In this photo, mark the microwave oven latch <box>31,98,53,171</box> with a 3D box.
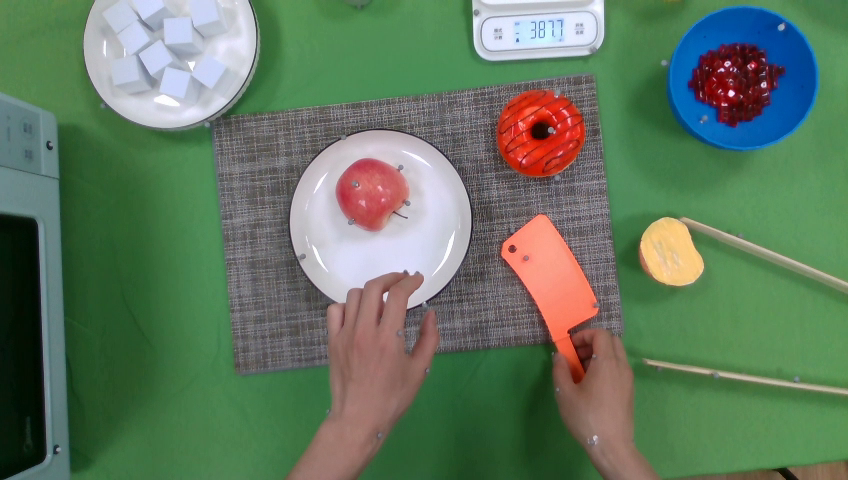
[{"bbox_3d":[-0.447,-0.120,0.696,0.030,0.029,0.079,-1,89,3],"label":"microwave oven latch"}]

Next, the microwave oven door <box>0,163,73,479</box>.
[{"bbox_3d":[-0.441,0.095,0.589,0.039,0.244,0.355,-4,88,4],"label":"microwave oven door"}]

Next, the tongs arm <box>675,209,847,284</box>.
[{"bbox_3d":[0.455,0.049,0.665,0.387,0.028,0.028,24,82,3],"label":"tongs arm"}]

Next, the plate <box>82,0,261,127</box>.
[{"bbox_3d":[-0.290,-0.233,0.709,0.207,0.039,0.207,0,88,3],"label":"plate"}]

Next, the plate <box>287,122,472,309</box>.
[{"bbox_3d":[-0.049,-0.028,0.686,0.209,0.038,0.209,0,89,3],"label":"plate"}]

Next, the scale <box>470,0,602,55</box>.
[{"bbox_3d":[0.125,-0.317,0.690,0.148,0.031,0.200,-2,89,4],"label":"scale"}]

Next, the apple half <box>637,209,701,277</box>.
[{"bbox_3d":[0.262,0.008,0.670,0.081,0.033,0.081,6,70,-17],"label":"apple half"}]

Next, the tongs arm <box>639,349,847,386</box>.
[{"bbox_3d":[0.433,0.132,0.660,0.385,0.026,0.050,9,85,3],"label":"tongs arm"}]

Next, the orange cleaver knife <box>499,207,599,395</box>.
[{"bbox_3d":[0.154,0.066,0.680,0.077,0.012,0.210,-24,83,2],"label":"orange cleaver knife"}]

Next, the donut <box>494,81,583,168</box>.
[{"bbox_3d":[0.126,-0.128,0.675,0.099,0.048,0.099,0,89,5],"label":"donut"}]

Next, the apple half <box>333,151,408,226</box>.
[{"bbox_3d":[-0.062,-0.061,0.672,0.081,0.053,0.074,-43,83,1],"label":"apple half"}]

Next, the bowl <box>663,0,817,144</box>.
[{"bbox_3d":[0.324,-0.172,0.652,0.151,0.077,0.151,0,89,4],"label":"bowl"}]

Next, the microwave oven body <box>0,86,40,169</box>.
[{"bbox_3d":[-0.589,0.062,0.603,0.326,0.260,0.441,-4,89,3],"label":"microwave oven body"}]
